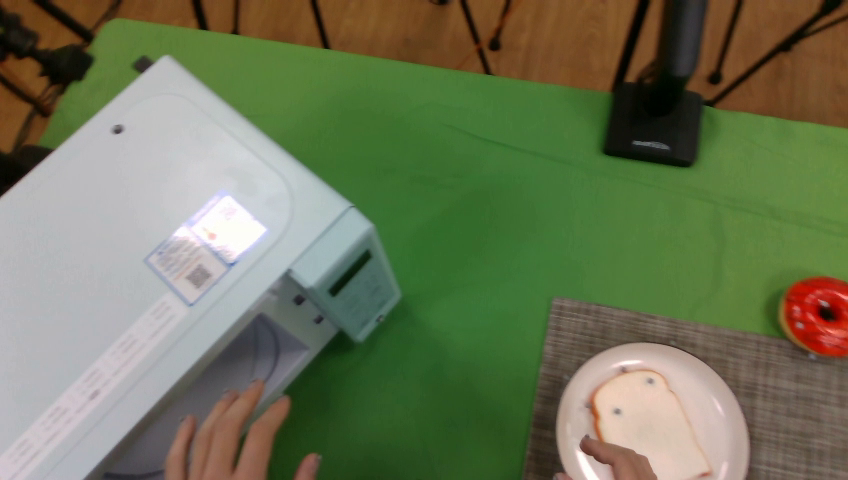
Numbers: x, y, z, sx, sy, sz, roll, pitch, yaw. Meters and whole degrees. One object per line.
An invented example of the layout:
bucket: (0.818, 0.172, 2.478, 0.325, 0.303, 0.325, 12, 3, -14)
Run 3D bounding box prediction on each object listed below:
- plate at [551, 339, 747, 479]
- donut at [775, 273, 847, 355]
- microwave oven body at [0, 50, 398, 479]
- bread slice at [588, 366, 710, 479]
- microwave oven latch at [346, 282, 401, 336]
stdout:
plate: (0.245, 0.216, 0.676, 0.207, 0.039, 0.206, -1, 70, 4)
donut: (0.464, 0.086, 0.706, 0.099, 0.048, 0.098, -3, 65, 7)
microwave oven body: (-0.298, 0.084, 0.649, 0.324, 0.262, 0.441, 38, 78, 16)
bread slice: (0.244, 0.209, 0.679, 0.105, 0.019, 0.130, -18, 70, -3)
microwave oven latch: (-0.062, 0.078, 0.737, 0.030, 0.030, 0.079, 40, 78, 17)
